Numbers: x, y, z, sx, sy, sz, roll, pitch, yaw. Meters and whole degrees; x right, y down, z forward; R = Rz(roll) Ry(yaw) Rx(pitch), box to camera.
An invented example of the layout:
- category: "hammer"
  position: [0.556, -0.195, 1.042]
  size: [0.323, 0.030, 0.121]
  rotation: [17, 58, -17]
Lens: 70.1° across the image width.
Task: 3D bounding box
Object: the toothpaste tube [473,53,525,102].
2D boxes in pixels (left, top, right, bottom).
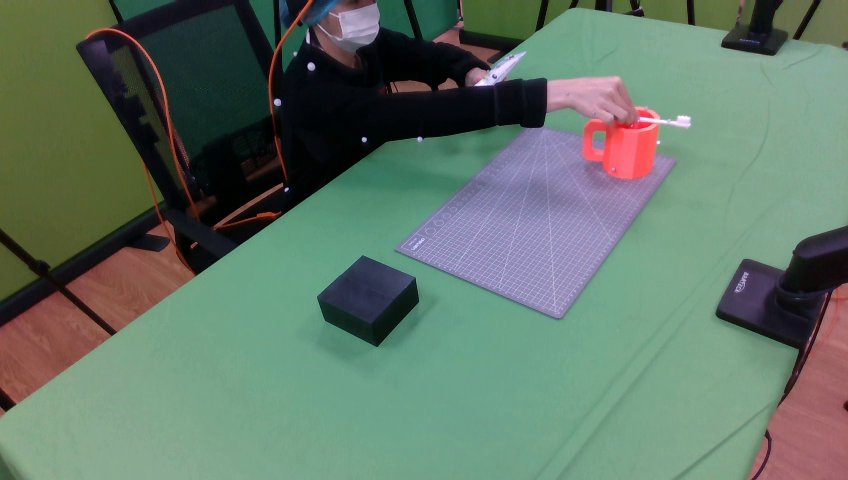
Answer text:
- category: "toothpaste tube"
  position: [0.144, -0.324, 1.200]
  size: [0.054, 0.035, 0.165]
  rotation: [3, 44, 42]

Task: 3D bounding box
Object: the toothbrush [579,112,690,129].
- category: "toothbrush"
  position: [0.352, -0.205, 1.019]
  size: [0.181, 0.017, 0.014]
  rotation: [10, 42, 21]

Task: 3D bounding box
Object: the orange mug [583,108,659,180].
- category: "orange mug"
  position: [0.343, -0.171, 1.061]
  size: [0.126, 0.101, 0.083]
  rotation: [10, 43, 15]

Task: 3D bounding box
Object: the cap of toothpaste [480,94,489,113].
- category: "cap of toothpaste"
  position: [0.114, -0.259, 1.144]
  size: [0.011, 0.037, 0.037]
  rotation: [10, 43, 17]
